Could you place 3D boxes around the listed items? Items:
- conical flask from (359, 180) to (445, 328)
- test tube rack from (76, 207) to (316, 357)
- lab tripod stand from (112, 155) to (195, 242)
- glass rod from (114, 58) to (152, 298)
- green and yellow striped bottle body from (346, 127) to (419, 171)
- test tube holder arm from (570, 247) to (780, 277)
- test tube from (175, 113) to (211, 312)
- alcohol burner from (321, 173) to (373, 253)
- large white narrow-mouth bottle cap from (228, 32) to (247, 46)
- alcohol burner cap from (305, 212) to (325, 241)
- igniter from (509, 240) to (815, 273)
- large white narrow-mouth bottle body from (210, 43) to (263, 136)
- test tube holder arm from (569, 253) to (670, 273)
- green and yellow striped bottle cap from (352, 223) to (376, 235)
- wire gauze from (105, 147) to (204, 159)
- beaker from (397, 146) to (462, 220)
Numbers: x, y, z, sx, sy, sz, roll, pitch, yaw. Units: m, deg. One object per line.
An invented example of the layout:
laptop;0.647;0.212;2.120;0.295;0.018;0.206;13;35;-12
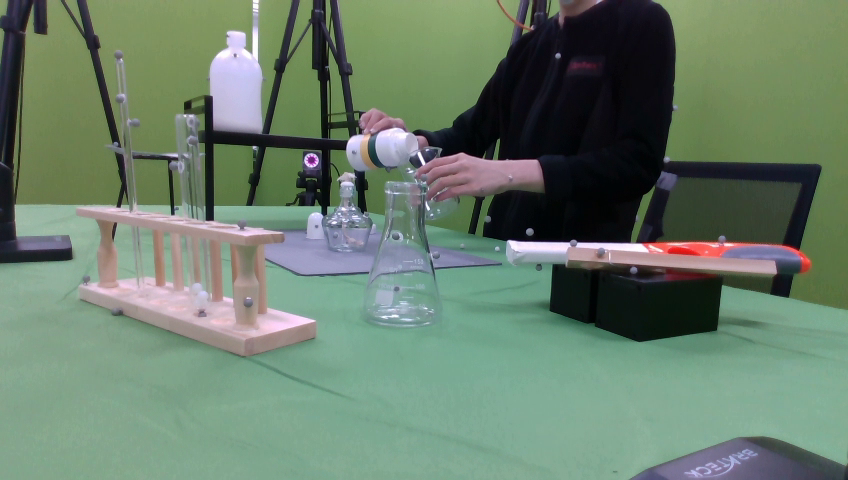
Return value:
conical flask;-0.017;0.010;0.522;0.075;0.122;0.075;2;7;0
test tube rack;-0.196;0.023;0.499;0.241;0.085;0.067;8;9;36
lab tripod stand;-0.405;-0.064;0.931;0.148;0.131;0.148;1;6;0
glass rod;-0.236;-0.044;0.492;0.008;0.199;0.008;0;15;0
green and yellow striped bottle body;-0.067;-0.154;1.021;0.119;0.063;0.063;-5;2;35
test tube holder arm;0.217;0.019;0.525;0.178;0.015;0.013;3;-23;3
test tube;-0.174;-0.020;0.458;0.017;0.150;0.017;-3;5;1
alcohol burner;-0.115;-0.041;0.905;0.078;0.119;0.078;0;6;0
large white narrow-mouth bottle cap;-0.364;-0.391;1.180;0.038;0.024;0.037;3;8;0
alcohol burner cap;-0.185;-0.023;1.027;0.034;0.048;0.034;2;6;0
igniter;0.220;0.015;0.566;0.277;0.025;0.057;2;16;0
large white narrow-mouth bottle body;-0.369;-0.305;1.194;0.102;0.194;0.102;3;8;0
test tube holder arm;0.172;0.019;0.532;0.088;0.015;0.010;3;-23;3
green and yellow striped bottle cap;-0.113;-0.021;1.140;0.045;0.020;0.045;3;6;0
wire gauze;-0.407;-0.131;0.928;0.125;0.011;0.121;2;6;-11
beaker;0.013;-0.090;0.969;0.084;0.100;0.074;-30;-17;20
